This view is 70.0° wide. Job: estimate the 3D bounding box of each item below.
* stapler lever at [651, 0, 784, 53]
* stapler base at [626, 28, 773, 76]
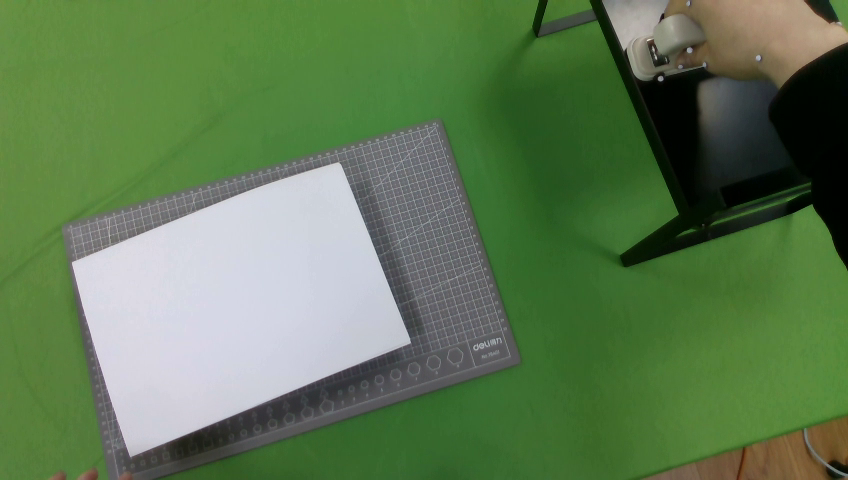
[{"bbox_3d":[0.245,-0.180,0.500,0.118,0.040,0.027,-15,90,-4],"label":"stapler lever"},{"bbox_3d":[0.242,-0.177,0.524,0.130,0.024,0.041,-15,90,-4],"label":"stapler base"}]
